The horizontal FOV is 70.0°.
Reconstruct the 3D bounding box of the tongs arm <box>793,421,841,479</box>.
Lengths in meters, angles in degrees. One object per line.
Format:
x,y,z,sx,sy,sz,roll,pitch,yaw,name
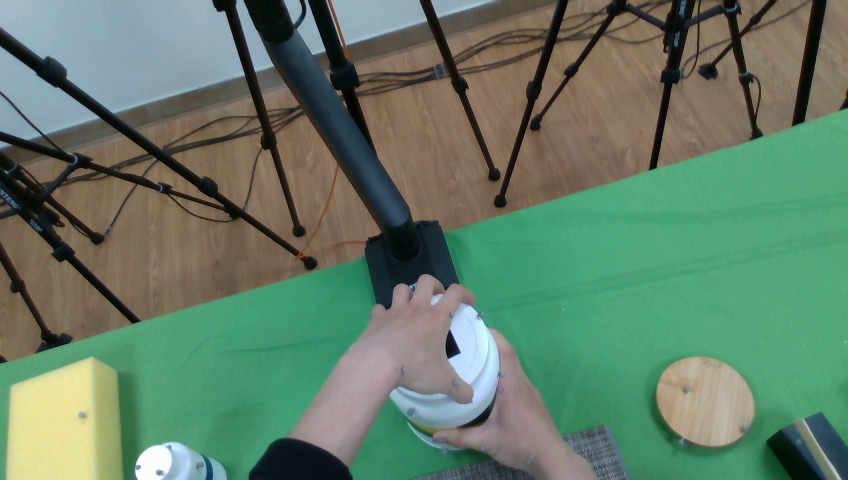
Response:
0.473,0.344,0.556,0.051,0.027,0.381,-20,68,-4,tongs arm

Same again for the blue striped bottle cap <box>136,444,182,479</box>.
-0.294,0.250,0.673,0.044,0.021,0.044,-4,60,7,blue striped bottle cap

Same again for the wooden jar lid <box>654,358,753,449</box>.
0.329,0.194,0.718,0.108,0.021,0.107,-4,60,8,wooden jar lid

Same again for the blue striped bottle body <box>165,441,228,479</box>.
-0.286,0.278,0.715,0.063,0.122,0.062,-5,58,8,blue striped bottle body

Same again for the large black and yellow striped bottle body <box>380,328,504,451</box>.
0.023,0.158,0.697,0.130,0.186,0.129,-5,58,8,large black and yellow striped bottle body

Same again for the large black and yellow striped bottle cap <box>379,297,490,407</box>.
0.010,0.113,0.622,0.115,0.019,0.114,-4,58,6,large black and yellow striped bottle cap

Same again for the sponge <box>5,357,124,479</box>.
-0.465,0.271,0.787,0.118,0.061,0.204,-20,58,-3,sponge
